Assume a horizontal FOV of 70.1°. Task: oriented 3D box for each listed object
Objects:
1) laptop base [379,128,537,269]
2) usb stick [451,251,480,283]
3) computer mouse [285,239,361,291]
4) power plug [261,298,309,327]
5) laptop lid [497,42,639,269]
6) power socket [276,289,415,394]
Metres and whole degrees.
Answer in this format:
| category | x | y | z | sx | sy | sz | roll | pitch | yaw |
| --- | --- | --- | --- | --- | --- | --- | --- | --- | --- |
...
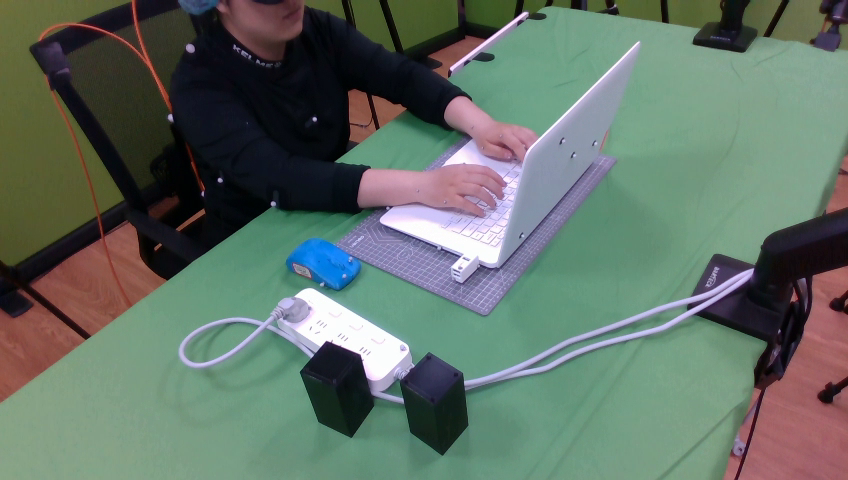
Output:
| category | x | y | z | sx | sy | sz | roll | pitch | yaw |
| --- | --- | --- | --- | --- | --- | --- | --- | --- | --- |
| laptop base | 0.118 | -0.088 | 1.058 | 0.233 | 0.023 | 0.355 | 19 | 47 | 32 |
| usb stick | 0.066 | 0.036 | 0.899 | 0.021 | 0.027 | 0.059 | 23 | 45 | 32 |
| computer mouse | -0.158 | 0.036 | 0.940 | 0.116 | 0.041 | 0.063 | 22 | 46 | 25 |
| power plug | -0.193 | 0.107 | 0.830 | 0.073 | 0.053 | 0.035 | -31 | 43 | -26 |
| laptop lid | 0.221 | -0.130 | 0.912 | 0.013 | 0.242 | 0.357 | 31 | 51 | 21 |
| power socket | -0.113 | 0.133 | 0.821 | 0.225 | 0.033 | 0.072 | 25 | 49 | 33 |
